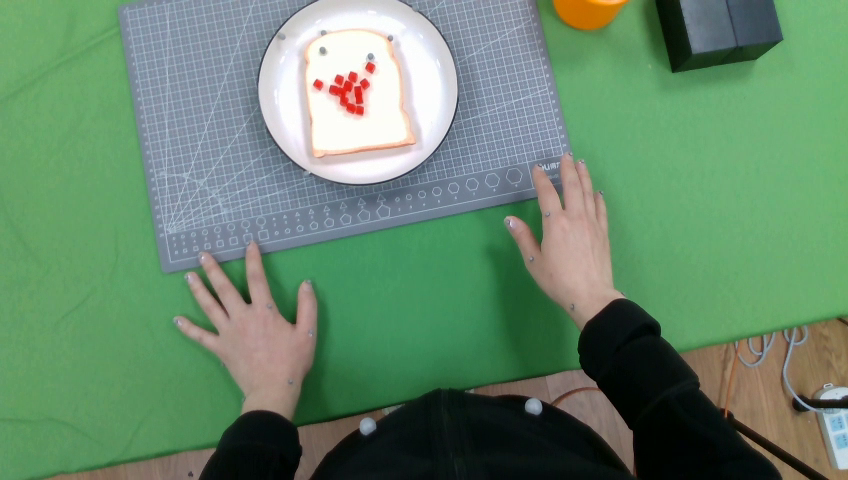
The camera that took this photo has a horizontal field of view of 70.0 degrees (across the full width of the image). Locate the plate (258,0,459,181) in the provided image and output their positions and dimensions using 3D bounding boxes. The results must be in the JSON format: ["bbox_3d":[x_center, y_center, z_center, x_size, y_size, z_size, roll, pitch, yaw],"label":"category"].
[{"bbox_3d":[-0.067,-0.162,0.639,0.209,0.038,0.208,0,84,-2],"label":"plate"}]

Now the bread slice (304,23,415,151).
[{"bbox_3d":[-0.075,-0.162,0.640,0.107,0.018,0.134,-12,84,-4],"label":"bread slice"}]
